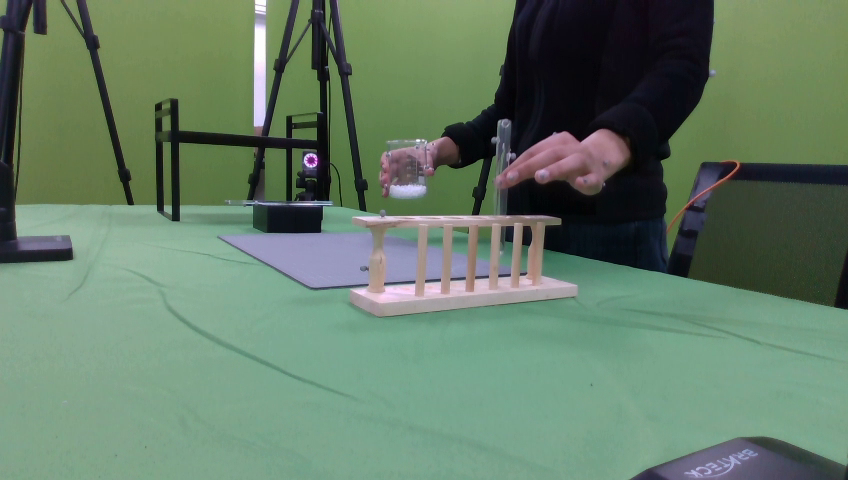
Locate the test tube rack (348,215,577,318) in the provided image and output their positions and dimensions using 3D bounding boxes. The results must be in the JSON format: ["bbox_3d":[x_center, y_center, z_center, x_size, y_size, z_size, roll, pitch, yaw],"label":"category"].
[{"bbox_3d":[0.048,0.021,0.619,0.244,0.085,0.066,-2,8,-31],"label":"test tube rack"}]

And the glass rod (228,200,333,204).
[{"bbox_3d":[-0.268,-0.071,1.143,0.201,0.008,0.008,-1,8,-29],"label":"glass rod"}]

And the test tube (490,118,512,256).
[{"bbox_3d":[0.084,-0.057,0.656,0.017,0.150,0.017,4,-4,1],"label":"test tube"}]

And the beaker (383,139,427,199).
[{"bbox_3d":[-0.028,-0.126,1.059,0.083,0.100,0.074,7,16,37],"label":"beaker"}]
